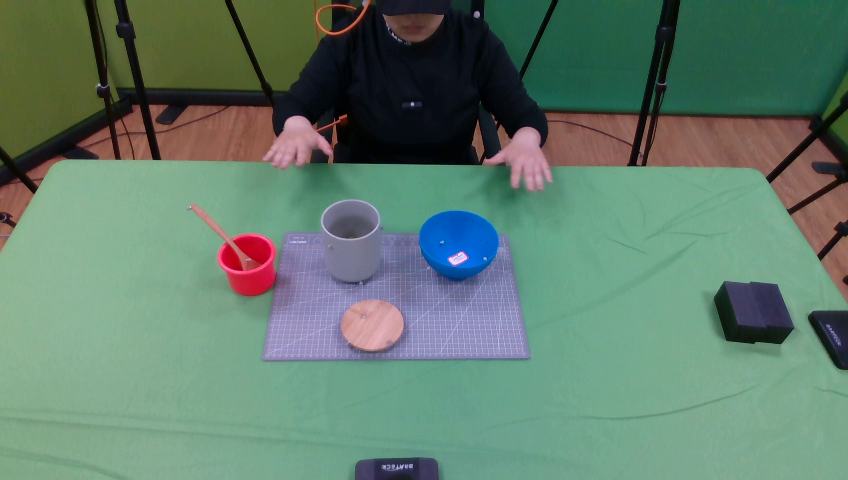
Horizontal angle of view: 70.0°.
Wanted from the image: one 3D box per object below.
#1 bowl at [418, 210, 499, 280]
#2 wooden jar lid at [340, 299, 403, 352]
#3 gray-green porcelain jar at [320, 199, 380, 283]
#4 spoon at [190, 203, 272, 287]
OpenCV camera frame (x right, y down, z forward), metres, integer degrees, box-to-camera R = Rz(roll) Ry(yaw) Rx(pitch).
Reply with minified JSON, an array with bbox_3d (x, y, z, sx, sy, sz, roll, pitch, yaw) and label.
[{"bbox_3d":[0.062,0.022,1.140,0.151,0.077,0.150,2,46,-2],"label":"bowl"},{"bbox_3d":[-0.090,0.150,1.046,0.108,0.021,0.107,3,47,-3],"label":"wooden jar lid"},{"bbox_3d":[-0.133,0.007,1.106,0.106,0.127,0.105,2,46,-2],"label":"gray-green porcelain jar"},{"bbox_3d":[-0.344,0.008,1.080,0.194,0.021,0.041,53,53,-16],"label":"spoon"}]
